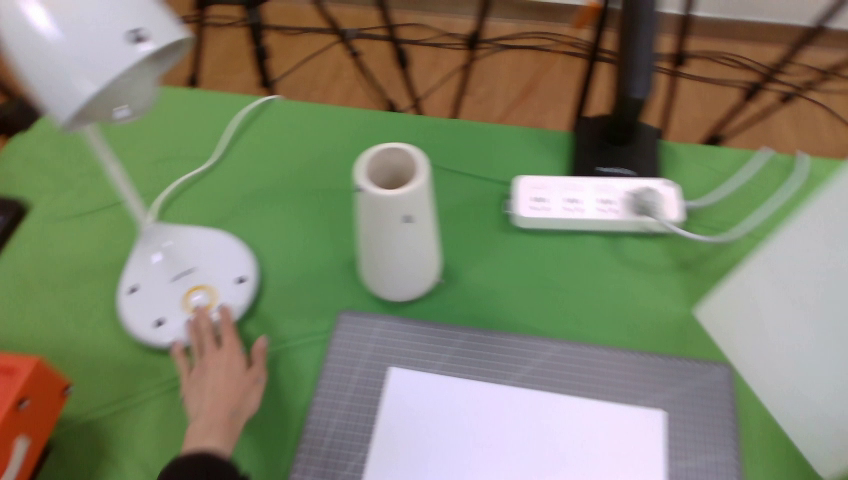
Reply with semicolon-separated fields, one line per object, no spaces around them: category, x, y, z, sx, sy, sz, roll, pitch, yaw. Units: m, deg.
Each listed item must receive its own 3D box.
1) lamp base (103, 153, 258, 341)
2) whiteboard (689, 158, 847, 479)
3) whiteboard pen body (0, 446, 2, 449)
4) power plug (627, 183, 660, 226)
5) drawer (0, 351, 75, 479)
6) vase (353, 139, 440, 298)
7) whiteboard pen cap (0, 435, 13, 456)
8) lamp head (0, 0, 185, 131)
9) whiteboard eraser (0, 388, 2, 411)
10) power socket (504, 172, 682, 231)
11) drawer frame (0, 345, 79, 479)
lamp base;-0.292;-0.002;0.671;0.177;0.182;0.160;37;63;26
whiteboard;0.456;0.055;0.579;0.144;0.307;0.215;-9;53;-27
whiteboard pen body;-0.462;0.215;0.553;0.141;0.017;0.017;-17;57;-14
power plug;0.267;-0.038;0.745;0.035;0.053;0.072;11;58;9
drawer;-0.469;0.190;0.551;0.211;0.074;0.193;6;57;6
vase;-0.032;-0.018;0.665;0.098;0.202;0.097;-1;55;2
whiteboard pen cap;-0.409;0.198;0.571;0.033;0.018;0.018;-18;57;-15
lamp head;-0.252;-0.154;0.423;0.123;0.112;0.112;48;63;-14
whiteboard eraser;-0.469;0.171;0.608;0.112;0.042;0.055;-24;64;21
power socket;0.218;-0.051;0.783;0.227;0.033;0.071;3;57;2
drawer frame;-0.475;0.192;0.553;0.213;0.083;0.200;6;57;4
